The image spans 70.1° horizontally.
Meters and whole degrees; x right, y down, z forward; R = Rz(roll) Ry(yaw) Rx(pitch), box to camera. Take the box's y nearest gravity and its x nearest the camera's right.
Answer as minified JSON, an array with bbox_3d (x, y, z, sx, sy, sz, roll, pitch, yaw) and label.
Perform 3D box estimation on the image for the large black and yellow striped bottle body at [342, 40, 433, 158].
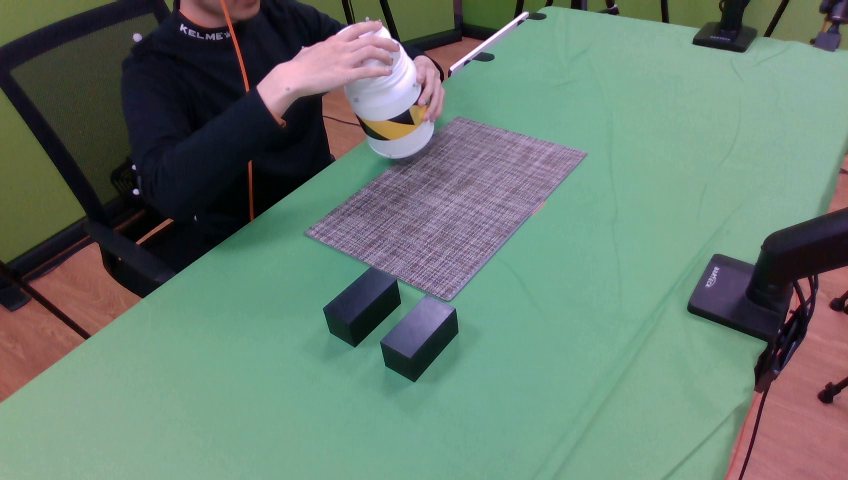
[{"bbox_3d":[-0.067,-0.251,1.076,0.130,0.185,0.130,-8,56,12],"label":"large black and yellow striped bottle body"}]

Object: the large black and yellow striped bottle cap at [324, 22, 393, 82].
[{"bbox_3d":[-0.107,-0.306,0.982,0.115,0.019,0.114,-6,60,12],"label":"large black and yellow striped bottle cap"}]
